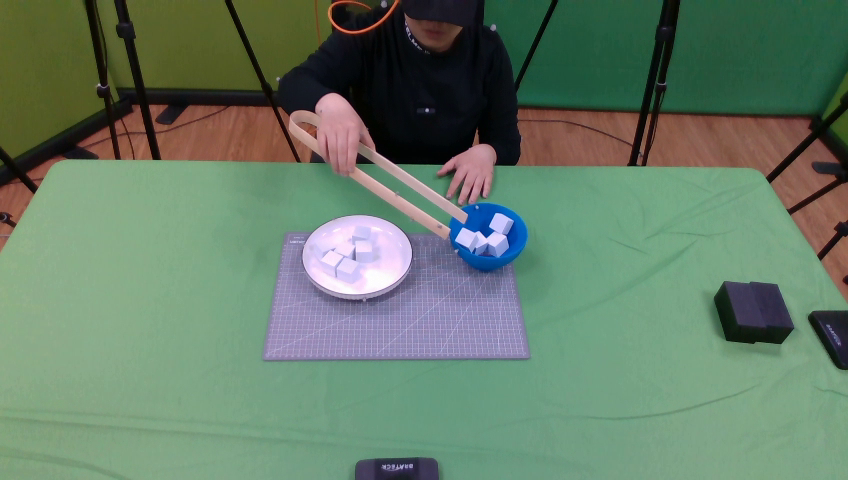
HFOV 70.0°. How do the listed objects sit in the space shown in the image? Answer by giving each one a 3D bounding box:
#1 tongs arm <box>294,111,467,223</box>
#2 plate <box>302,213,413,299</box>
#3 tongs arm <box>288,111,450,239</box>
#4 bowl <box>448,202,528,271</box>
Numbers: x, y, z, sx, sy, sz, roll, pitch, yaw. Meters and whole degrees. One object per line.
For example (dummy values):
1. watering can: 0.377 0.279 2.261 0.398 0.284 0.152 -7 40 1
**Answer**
1. tongs arm: -0.085 -0.139 1.126 0.386 0.028 0.028 33 48 12
2. plate: -0.124 0.033 1.143 0.208 0.039 0.206 2 46 -2
3. tongs arm: -0.105 -0.122 1.100 0.384 0.026 0.050 33 45 12
4. bowl: 0.118 0.006 1.160 0.151 0.077 0.150 2 46 -2
